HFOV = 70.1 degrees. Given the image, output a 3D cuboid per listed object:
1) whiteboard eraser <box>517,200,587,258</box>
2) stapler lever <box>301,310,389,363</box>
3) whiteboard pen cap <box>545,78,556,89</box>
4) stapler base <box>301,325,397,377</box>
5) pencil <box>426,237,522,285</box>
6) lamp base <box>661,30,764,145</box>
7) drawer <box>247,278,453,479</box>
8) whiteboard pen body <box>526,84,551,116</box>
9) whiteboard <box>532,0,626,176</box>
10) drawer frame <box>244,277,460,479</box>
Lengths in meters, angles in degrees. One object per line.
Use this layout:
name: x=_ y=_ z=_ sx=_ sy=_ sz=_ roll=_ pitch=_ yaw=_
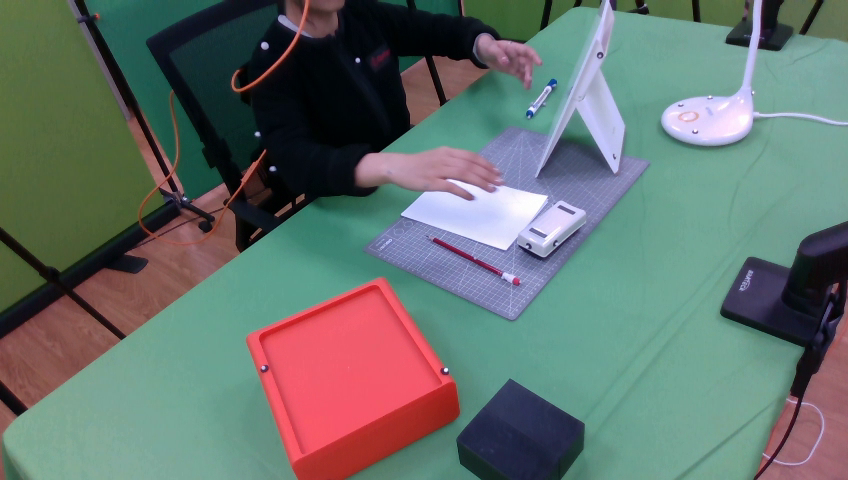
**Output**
whiteboard eraser: x=0.200 y=-0.016 z=0.943 sx=0.113 sy=0.042 sz=0.055 roll=-37 pitch=46 yaw=-29
stapler lever: x=-0.104 y=0.126 z=0.798 sx=0.118 sy=0.040 sz=0.026 roll=-17 pitch=42 yaw=-15
whiteboard pen cap: x=0.280 y=-0.344 z=1.335 sx=0.018 sy=0.018 sz=0.033 roll=15 pitch=45 yaw=26
stapler base: x=-0.102 y=0.143 z=0.815 sx=0.131 sy=0.024 sz=0.041 roll=-18 pitch=42 yaw=-13
pencil: x=0.072 y=0.028 z=0.941 sx=0.192 sy=0.012 sz=0.012 roll=26 pitch=52 yaw=37
lamp base: x=0.535 y=-0.287 z=1.096 sx=0.179 sy=0.181 sz=0.159 roll=-10 pitch=40 yaw=-4
drawer: x=-0.096 y=0.167 z=0.758 sx=0.195 sy=0.073 sz=0.210 roll=-22 pitch=43 yaw=-16
whiteboard pen body: x=0.251 y=-0.305 z=1.298 sx=0.017 sy=0.017 sz=0.141 roll=15 pitch=45 yaw=26
whiteboard: x=0.321 y=-0.258 z=1.050 sx=0.144 sy=0.306 sz=0.217 roll=22 pitch=45 yaw=5
drawer frame: x=-0.093 y=0.167 z=0.755 sx=0.202 sy=0.083 sz=0.211 roll=-23 pitch=43 yaw=-17
